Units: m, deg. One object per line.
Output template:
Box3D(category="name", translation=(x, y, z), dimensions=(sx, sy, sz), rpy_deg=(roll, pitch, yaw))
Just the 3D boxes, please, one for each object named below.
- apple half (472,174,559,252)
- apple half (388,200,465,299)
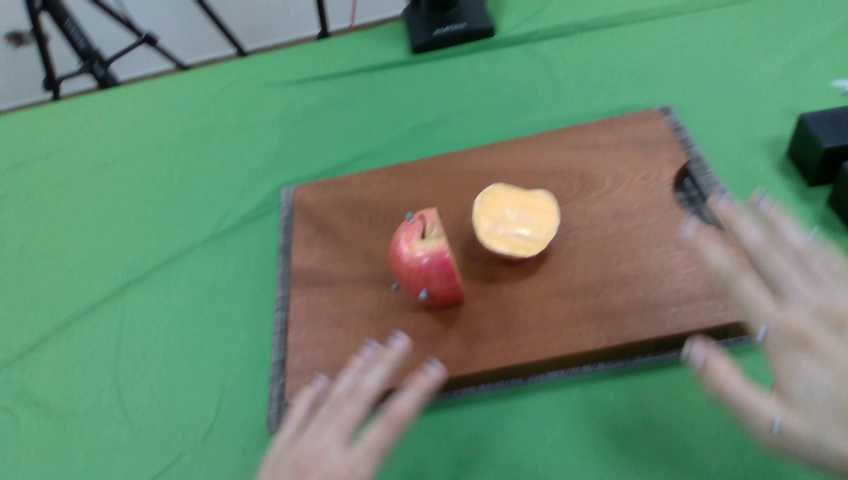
Box3D(category="apple half", translation=(0.080, -0.019, 0.545), dimensions=(0.081, 0.033, 0.080), rpy_deg=(-1, 63, 2))
Box3D(category="apple half", translation=(-0.001, 0.014, 0.511), dimensions=(0.053, 0.075, 0.080), rpy_deg=(-20, 53, 2))
